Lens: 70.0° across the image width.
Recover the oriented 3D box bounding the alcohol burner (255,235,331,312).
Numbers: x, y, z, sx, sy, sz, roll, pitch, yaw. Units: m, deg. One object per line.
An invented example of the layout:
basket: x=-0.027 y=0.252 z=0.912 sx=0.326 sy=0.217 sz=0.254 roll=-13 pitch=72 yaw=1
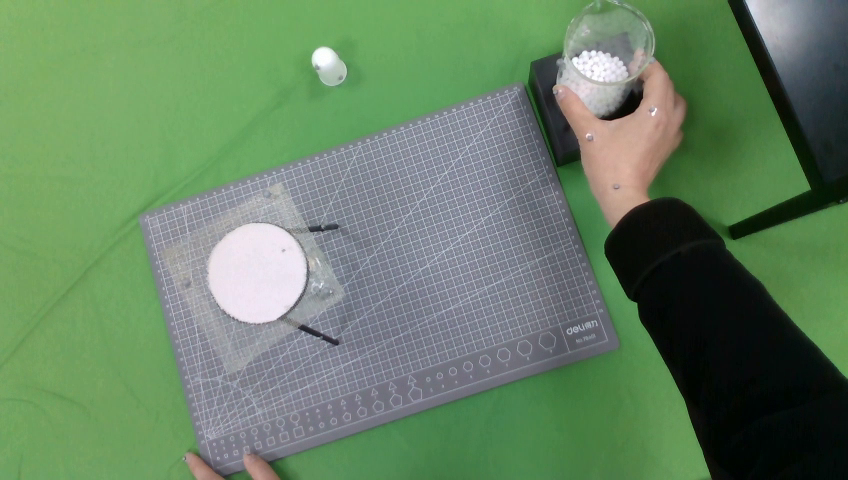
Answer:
alcohol burner: x=-0.135 y=0.031 z=0.597 sx=0.078 sy=0.119 sz=0.077 roll=-1 pitch=81 yaw=7

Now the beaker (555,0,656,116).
beaker: x=0.158 y=-0.163 z=0.550 sx=0.074 sy=0.100 sz=0.083 roll=-8 pitch=81 yaw=5

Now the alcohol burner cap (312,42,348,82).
alcohol burner cap: x=-0.104 y=-0.196 z=0.659 sx=0.034 sy=0.048 sz=0.034 roll=-1 pitch=84 yaw=8

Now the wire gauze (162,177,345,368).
wire gauze: x=-0.147 y=0.026 z=0.521 sx=0.121 sy=0.011 sz=0.124 roll=-31 pitch=83 yaw=0

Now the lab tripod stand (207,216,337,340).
lab tripod stand: x=-0.136 y=0.034 z=0.587 sx=0.148 sy=0.132 sz=0.148 roll=0 pitch=83 yaw=4
